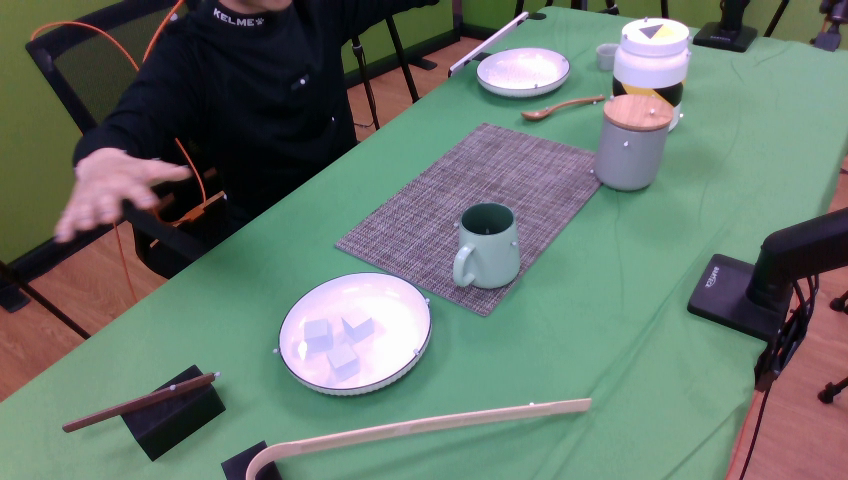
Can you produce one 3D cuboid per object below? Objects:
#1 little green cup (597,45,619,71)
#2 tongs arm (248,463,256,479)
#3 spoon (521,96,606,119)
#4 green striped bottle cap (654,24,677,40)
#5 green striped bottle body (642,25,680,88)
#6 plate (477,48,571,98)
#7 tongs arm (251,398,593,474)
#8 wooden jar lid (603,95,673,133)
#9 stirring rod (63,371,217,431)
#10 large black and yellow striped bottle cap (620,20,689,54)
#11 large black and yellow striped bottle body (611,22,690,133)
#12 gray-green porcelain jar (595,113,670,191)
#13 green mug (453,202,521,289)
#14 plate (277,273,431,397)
[{"bbox_3d":[0.423,-0.413,1.375,0.061,0.039,0.061,-3,41,3],"label":"little green cup"},{"bbox_3d":[0.012,0.262,0.615,0.385,0.026,0.050,2,42,-2],"label":"tongs arm"},{"bbox_3d":[0.291,-0.277,1.249,0.194,0.022,0.041,-18,23,-12],"label":"spoon"},{"bbox_3d":[0.494,-0.426,1.237,0.044,0.020,0.044,-5,41,5],"label":"green striped bottle cap"},{"bbox_3d":[0.499,-0.387,1.271,0.063,0.120,0.063,-4,41,4],"label":"green striped bottle body"},{"bbox_3d":[0.223,-0.371,1.357,0.209,0.038,0.208,-4,41,4],"label":"plate"},{"bbox_3d":[0.008,0.212,0.675,0.389,0.028,0.028,-5,46,-11],"label":"tongs arm"},{"bbox_3d":[0.343,-0.200,0.974,0.108,0.021,0.108,-2,39,2],"label":"wooden jar lid"},{"bbox_3d":[-0.337,0.192,0.723,0.177,0.014,0.005,-18,42,-12],"label":"stirring rod"},{"bbox_3d":[0.411,-0.363,1.080,0.115,0.019,0.114,-4,42,4],"label":"large black and yellow striped bottle cap"},{"bbox_3d":[0.420,-0.300,1.132,0.131,0.185,0.130,-4,41,4],"label":"large black and yellow striped bottle body"},{"bbox_3d":[0.346,-0.155,1.017,0.106,0.127,0.105,-2,44,2],"label":"gray-green porcelain jar"},{"bbox_3d":[0.083,0.019,0.867,0.092,0.105,0.125,23,49,30],"label":"green mug"},{"bbox_3d":[-0.092,0.129,0.821,0.207,0.039,0.206,-4,40,4],"label":"plate"}]
